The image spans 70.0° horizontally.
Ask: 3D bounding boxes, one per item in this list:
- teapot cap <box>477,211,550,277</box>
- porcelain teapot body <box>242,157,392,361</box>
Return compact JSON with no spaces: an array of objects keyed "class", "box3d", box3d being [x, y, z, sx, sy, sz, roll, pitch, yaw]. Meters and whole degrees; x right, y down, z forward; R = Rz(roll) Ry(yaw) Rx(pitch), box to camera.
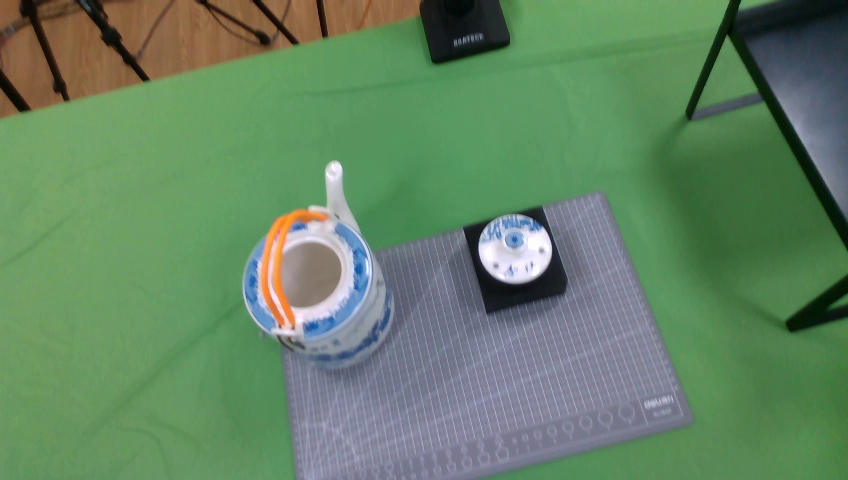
[{"class":"teapot cap","box3d":[0.103,0.002,0.697,0.085,0.044,0.084,-3,64,7]},{"class":"porcelain teapot body","box3d":[-0.117,0.016,0.678,0.145,0.227,0.204,6,68,11]}]
